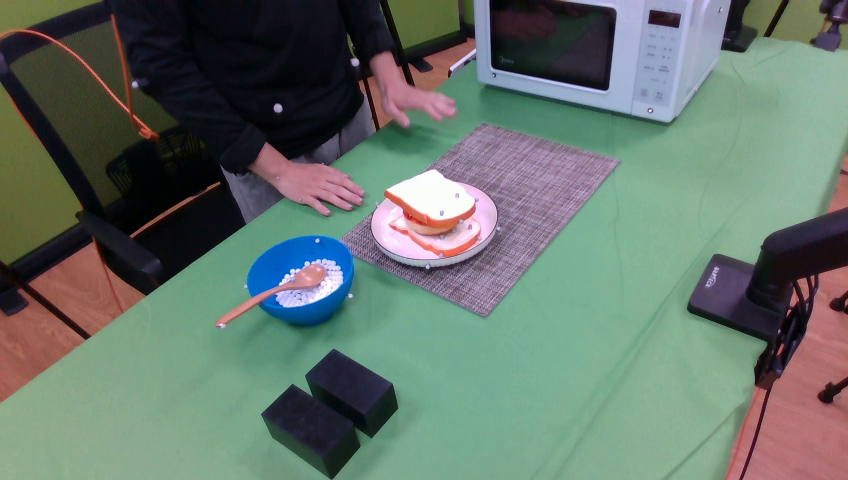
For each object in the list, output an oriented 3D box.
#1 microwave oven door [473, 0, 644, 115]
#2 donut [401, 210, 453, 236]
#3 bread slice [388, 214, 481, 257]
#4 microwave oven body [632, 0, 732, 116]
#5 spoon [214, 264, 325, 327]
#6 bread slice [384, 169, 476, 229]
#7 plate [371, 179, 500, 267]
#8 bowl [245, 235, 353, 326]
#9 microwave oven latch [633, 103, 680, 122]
[{"bbox_3d":[0.257,-0.396,1.199,0.353,0.245,0.039,21,48,29],"label":"microwave oven door"},{"bbox_3d":[0.013,-0.047,0.957,0.099,0.048,0.098,-8,40,7],"label":"donut"},{"bbox_3d":[0.025,-0.023,0.973,0.107,0.018,0.133,-36,49,-28],"label":"bread slice"},{"bbox_3d":[0.377,-0.462,1.267,0.438,0.261,0.327,21,48,30],"label":"microwave oven body"},{"bbox_3d":[-0.207,0.073,0.821,0.041,0.021,0.195,23,27,26],"label":"spoon"},{"bbox_3d":[0.017,-0.064,0.935,0.105,0.019,0.130,-27,46,-30],"label":"bread slice"},{"bbox_3d":[0.020,-0.025,0.977,0.207,0.039,0.206,-4,40,4],"label":"plate"},{"bbox_3d":[-0.171,0.070,0.868,0.151,0.077,0.150,-4,41,4],"label":"bowl"},{"bbox_3d":[0.444,-0.249,1.157,0.078,0.029,0.030,20,48,30],"label":"microwave oven latch"}]
